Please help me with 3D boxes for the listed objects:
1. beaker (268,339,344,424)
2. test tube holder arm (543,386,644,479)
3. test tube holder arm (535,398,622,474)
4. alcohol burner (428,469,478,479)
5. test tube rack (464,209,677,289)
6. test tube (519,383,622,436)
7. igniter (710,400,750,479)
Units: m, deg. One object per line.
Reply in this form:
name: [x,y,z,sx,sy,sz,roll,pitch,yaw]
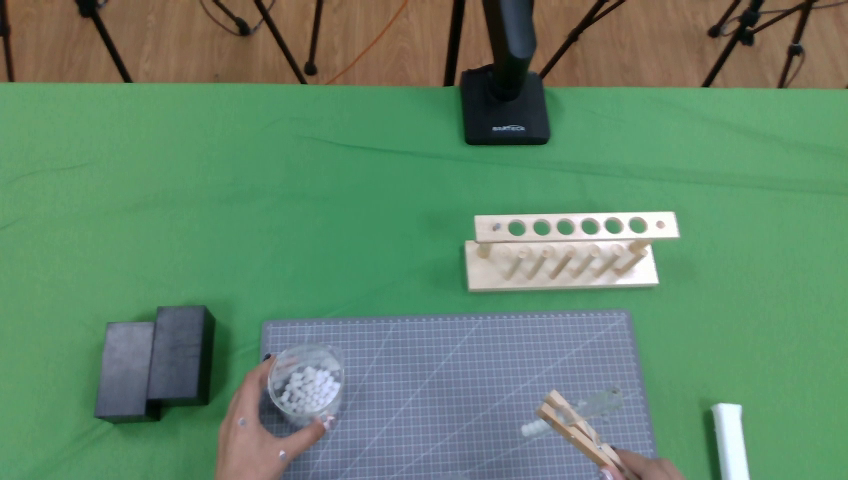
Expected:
beaker: [-0.119,0.152,0.642,0.073,0.101,0.084,43,67,12]
test tube holder arm: [0.168,0.194,0.514,0.178,0.015,0.013,46,58,6]
test tube holder arm: [0.132,0.167,0.514,0.088,0.015,0.010,39,57,1]
alcohol burner: [0.031,0.267,0.600,0.078,0.120,0.077,2,64,-5]
test tube rack: [0.176,0.012,0.743,0.243,0.085,0.066,-1,67,-6]
test tube: [0.119,0.147,0.516,0.017,0.151,0.017,9,61,-17]
igniter: [0.347,0.315,0.660,0.057,0.025,0.274,9,66,-12]
